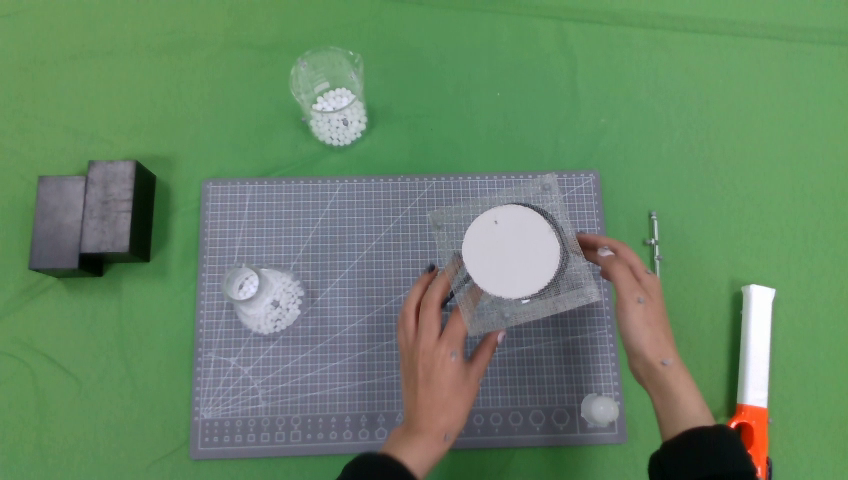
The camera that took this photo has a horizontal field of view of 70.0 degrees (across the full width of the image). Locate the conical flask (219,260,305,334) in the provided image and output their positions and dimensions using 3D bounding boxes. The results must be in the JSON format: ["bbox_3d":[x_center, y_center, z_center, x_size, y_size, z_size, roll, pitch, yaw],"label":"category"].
[{"bbox_3d":[-0.164,0.051,0.596,0.075,0.122,0.075,0,77,-1],"label":"conical flask"}]

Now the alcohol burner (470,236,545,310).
[{"bbox_3d":[0.087,0.030,0.611,0.078,0.119,0.077,1,77,-3],"label":"alcohol burner"}]

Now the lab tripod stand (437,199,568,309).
[{"bbox_3d":[0.080,0.024,0.602,0.148,0.132,0.147,0,79,-1],"label":"lab tripod stand"}]

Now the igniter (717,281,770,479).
[{"bbox_3d":[0.335,0.179,0.631,0.057,0.025,0.275,13,77,-9],"label":"igniter"}]

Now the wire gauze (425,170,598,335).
[{"bbox_3d":[0.077,0.010,0.536,0.125,0.011,0.121,-17,80,-3],"label":"wire gauze"}]

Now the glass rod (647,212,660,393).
[{"bbox_3d":[0.251,0.065,0.663,0.008,0.008,0.198,3,77,-1],"label":"glass rod"}]

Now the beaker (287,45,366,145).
[{"bbox_3d":[-0.100,-0.153,0.657,0.084,0.100,0.074,-42,81,-10],"label":"beaker"}]

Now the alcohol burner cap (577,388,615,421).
[{"bbox_3d":[0.178,0.169,0.619,0.034,0.048,0.033,0,78,-2],"label":"alcohol burner cap"}]
